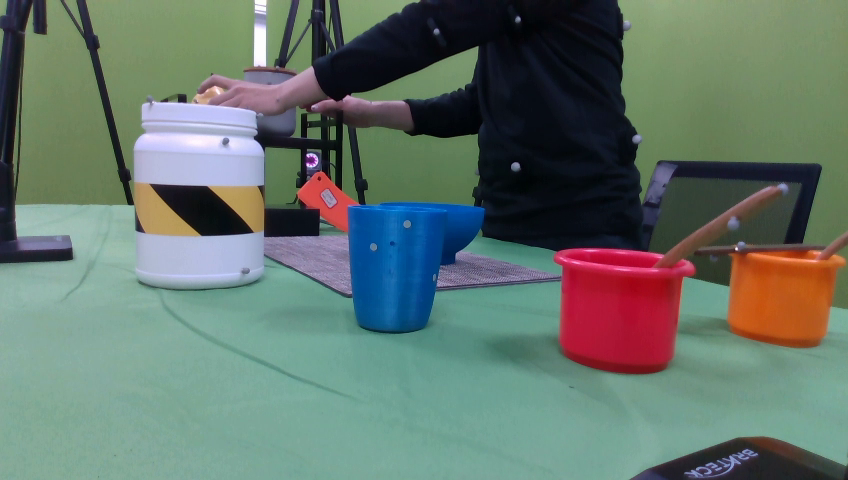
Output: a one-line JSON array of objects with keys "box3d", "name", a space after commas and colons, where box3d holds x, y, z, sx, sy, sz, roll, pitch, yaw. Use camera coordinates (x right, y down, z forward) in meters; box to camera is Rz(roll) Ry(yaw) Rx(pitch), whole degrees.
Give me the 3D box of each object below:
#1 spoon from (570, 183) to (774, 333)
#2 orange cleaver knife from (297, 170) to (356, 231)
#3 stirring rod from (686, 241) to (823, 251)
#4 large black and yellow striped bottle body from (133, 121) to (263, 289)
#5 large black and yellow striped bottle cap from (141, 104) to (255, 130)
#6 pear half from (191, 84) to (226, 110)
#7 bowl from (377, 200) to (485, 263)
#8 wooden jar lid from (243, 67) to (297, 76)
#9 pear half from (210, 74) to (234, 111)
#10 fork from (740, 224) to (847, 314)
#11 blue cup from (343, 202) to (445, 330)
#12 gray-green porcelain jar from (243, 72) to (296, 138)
[{"box3d": [0.160, 0.020, 0.413, 0.042, 0.021, 0.193, 0, -36, -24], "name": "spoon"}, {"box3d": [-0.150, -0.058, 1.171, 0.212, 0.077, 0.012, 33, -15, -32], "name": "orange cleaver knife"}, {"box3d": [0.289, 0.005, 0.525, 0.177, 0.006, 0.014, -1, 6, -26], "name": "stirring rod"}, {"box3d": [-0.243, -0.048, 0.659, 0.131, 0.184, 0.130, 2, 7, 0], "name": "large black and yellow striped bottle body"}, {"box3d": [-0.241, -0.131, 0.650, 0.115, 0.019, 0.115, 3, 8, 0], "name": "large black and yellow striped bottle cap"}, {"box3d": [-0.406, -0.248, 1.128, 0.070, 0.088, 0.031, 7, 6, 2], "name": "pear half"}, {"box3d": [0.008, -0.012, 0.842, 0.151, 0.077, 0.151, 2, 7, 0], "name": "bowl"}, {"box3d": [-0.319, -0.342, 1.254, 0.108, 0.020, 0.108, 3, 8, 0], "name": "wooden jar lid"}, {"box3d": [-0.401, -0.261, 1.162, 0.076, 0.109, 0.056, 6, 7, 1], "name": "pear half"}, {"box3d": [0.323, 0.013, 0.485, 0.028, 0.018, 0.207, 9, -38, -5], "name": "fork"}, {"box3d": [-0.027, 0.021, 0.510, 0.093, 0.100, 0.092, 3, 5, 0], "name": "blue cup"}, {"box3d": [-0.322, -0.279, 1.263, 0.106, 0.126, 0.106, 3, 8, 0], "name": "gray-green porcelain jar"}]
